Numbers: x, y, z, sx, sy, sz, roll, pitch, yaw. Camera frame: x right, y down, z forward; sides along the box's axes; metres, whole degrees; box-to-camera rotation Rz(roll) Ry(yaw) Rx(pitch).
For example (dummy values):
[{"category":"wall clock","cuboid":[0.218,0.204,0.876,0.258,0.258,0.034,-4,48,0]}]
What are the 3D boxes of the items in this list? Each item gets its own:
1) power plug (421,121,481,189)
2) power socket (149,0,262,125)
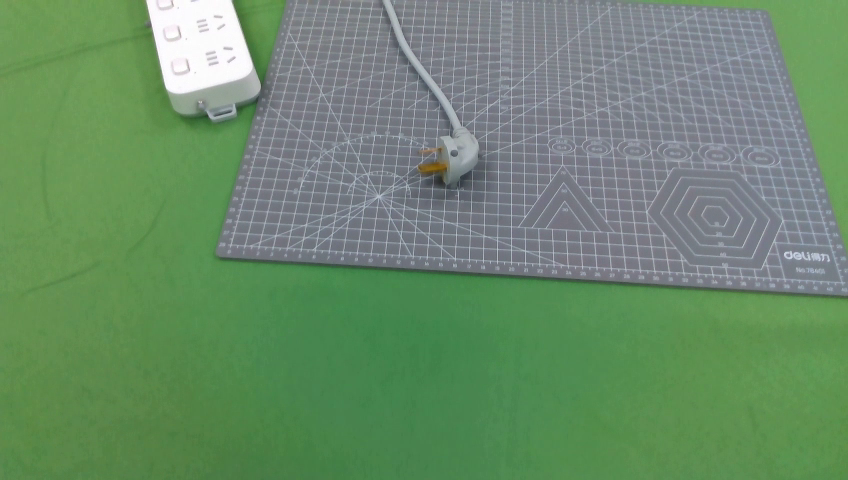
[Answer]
[{"category":"power plug","cuboid":[0.021,-0.063,0.430,0.035,0.072,0.052,-1,91,10]},{"category":"power socket","cuboid":[-0.200,-0.194,0.535,0.072,0.033,0.224,-17,60,-12]}]
